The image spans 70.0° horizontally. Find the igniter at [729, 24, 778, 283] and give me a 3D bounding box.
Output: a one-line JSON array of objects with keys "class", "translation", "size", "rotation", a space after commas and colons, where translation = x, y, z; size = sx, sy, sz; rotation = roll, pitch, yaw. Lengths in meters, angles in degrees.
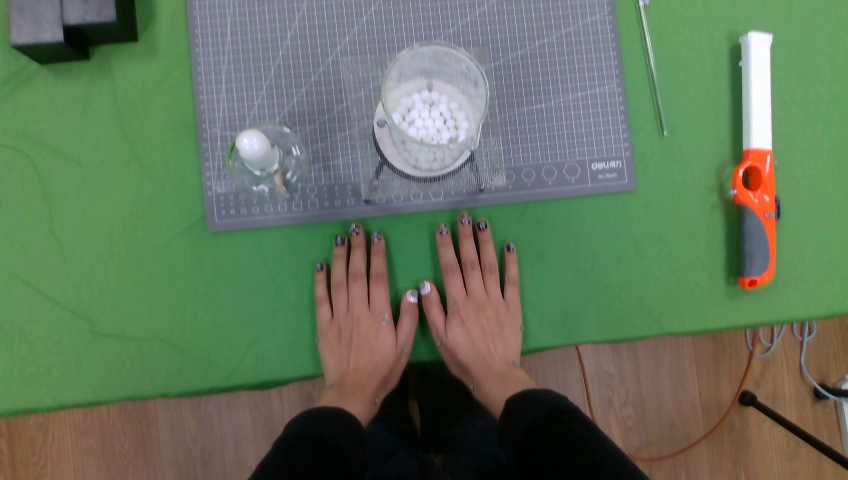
[{"class": "igniter", "translation": [0.352, -0.092, 0.647], "size": [0.057, 0.025, 0.276], "rotation": [2, 87, -14]}]

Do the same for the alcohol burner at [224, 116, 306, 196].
[{"class": "alcohol burner", "translation": [-0.152, -0.082, 0.568], "size": [0.078, 0.119, 0.077], "rotation": [0, 84, -4]}]

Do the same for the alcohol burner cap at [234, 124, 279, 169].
[{"class": "alcohol burner cap", "translation": [-0.149, -0.084, 0.532], "size": [0.034, 0.048, 0.034], "rotation": [0, 82, -2]}]

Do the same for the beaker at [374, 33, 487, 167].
[{"class": "beaker", "translation": [0.006, -0.096, 0.455], "size": [0.074, 0.100, 0.084], "rotation": [-38, 88, -5]}]

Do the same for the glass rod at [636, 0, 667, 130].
[{"class": "glass rod", "translation": [0.241, -0.217, 0.654], "size": [0.008, 0.008, 0.199], "rotation": [-10, 88, -4]}]

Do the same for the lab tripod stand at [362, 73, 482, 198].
[{"class": "lab tripod stand", "translation": [-0.005, -0.096, 0.568], "size": [0.148, 0.131, 0.148], "rotation": [0, 86, -2]}]

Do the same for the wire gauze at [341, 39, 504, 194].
[{"class": "wire gauze", "translation": [-0.001, -0.103, 0.503], "size": [0.125, 0.011, 0.121], "rotation": [-7, 86, -2]}]
